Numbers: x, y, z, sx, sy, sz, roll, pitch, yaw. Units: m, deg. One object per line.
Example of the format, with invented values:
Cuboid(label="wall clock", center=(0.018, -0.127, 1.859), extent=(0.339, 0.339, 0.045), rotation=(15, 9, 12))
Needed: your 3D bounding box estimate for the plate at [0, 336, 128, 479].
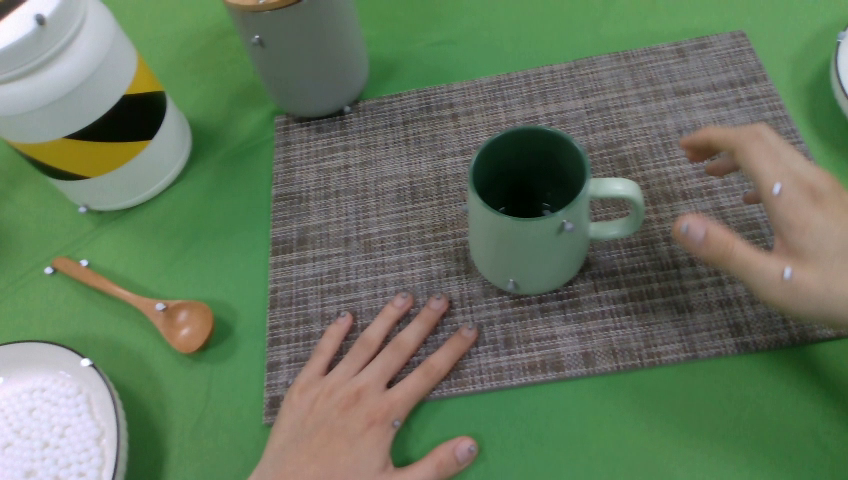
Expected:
Cuboid(label="plate", center=(-0.306, 0.171, 0.430), extent=(0.209, 0.038, 0.207), rotation=(-4, 60, 7))

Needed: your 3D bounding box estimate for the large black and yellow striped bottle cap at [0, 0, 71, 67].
Cuboid(label="large black and yellow striped bottle cap", center=(-0.315, -0.166, 0.440), extent=(0.115, 0.019, 0.114), rotation=(-4, 59, 6))

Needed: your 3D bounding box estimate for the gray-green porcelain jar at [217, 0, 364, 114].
Cuboid(label="gray-green porcelain jar", center=(-0.115, -0.188, 0.549), extent=(0.106, 0.128, 0.105), rotation=(-4, 56, 7))

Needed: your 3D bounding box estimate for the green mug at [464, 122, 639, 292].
Cuboid(label="green mug", center=(0.089, -0.022, 0.434), extent=(0.125, 0.106, 0.092), rotation=(-2, 60, 8))

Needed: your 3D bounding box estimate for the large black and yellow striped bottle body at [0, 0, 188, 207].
Cuboid(label="large black and yellow striped bottle body", center=(-0.302, -0.127, 0.512), extent=(0.130, 0.185, 0.129), rotation=(-4, 60, 7))

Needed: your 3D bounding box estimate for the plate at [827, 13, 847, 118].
Cuboid(label="plate", center=(0.433, -0.126, 0.483), extent=(0.207, 0.039, 0.206), rotation=(-4, 60, 7))

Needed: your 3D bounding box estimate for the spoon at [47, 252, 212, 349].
Cuboid(label="spoon", center=(-0.249, 0.041, 0.503), extent=(0.193, 0.022, 0.041), rotation=(20, 84, 18))

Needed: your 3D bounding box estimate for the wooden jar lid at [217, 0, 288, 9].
Cuboid(label="wooden jar lid", center=(-0.124, -0.223, 0.498), extent=(0.108, 0.021, 0.107), rotation=(-6, 59, 9))
